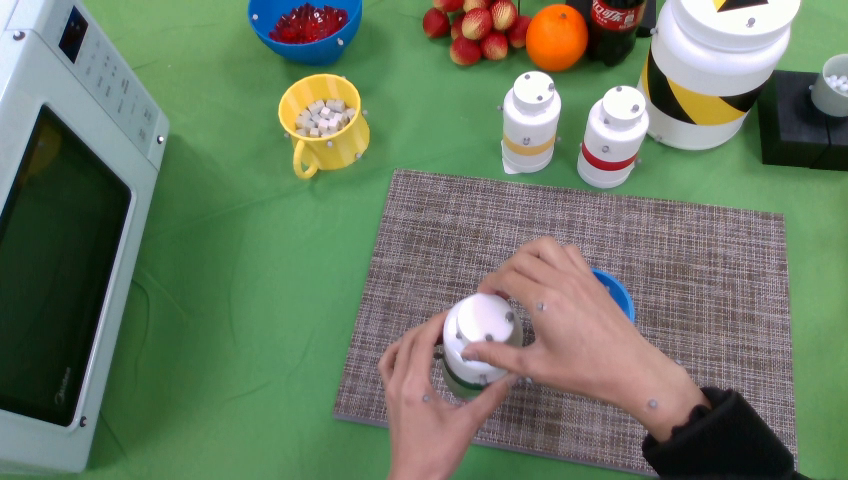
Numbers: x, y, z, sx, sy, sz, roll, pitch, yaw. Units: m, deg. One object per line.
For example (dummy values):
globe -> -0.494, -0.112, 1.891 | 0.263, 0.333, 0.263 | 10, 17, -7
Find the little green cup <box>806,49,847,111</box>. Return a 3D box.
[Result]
little green cup -> 0.456, -0.174, 0.666 | 0.061, 0.039, 0.061 | -1, 63, 3

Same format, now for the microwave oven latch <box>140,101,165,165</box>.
microwave oven latch -> -0.346, -0.133, 0.755 | 0.030, 0.030, 0.078 | 1, 65, 5

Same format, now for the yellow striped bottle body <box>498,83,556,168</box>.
yellow striped bottle body -> 0.116, -0.139, 0.691 | 0.063, 0.121, 0.062 | -2, 64, 5

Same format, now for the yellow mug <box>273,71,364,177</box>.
yellow mug -> -0.134, -0.135, 0.742 | 0.099, 0.064, 0.130 | 17, 68, 12

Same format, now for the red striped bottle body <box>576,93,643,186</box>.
red striped bottle body -> 0.206, -0.117, 0.673 | 0.063, 0.121, 0.062 | -4, 62, 7

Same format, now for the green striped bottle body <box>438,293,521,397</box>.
green striped bottle body -> 0.044, 0.084, 0.500 | 0.063, 0.120, 0.062 | 0, 61, 0

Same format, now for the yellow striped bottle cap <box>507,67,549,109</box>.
yellow striped bottle cap -> 0.111, -0.162, 0.645 | 0.044, 0.019, 0.044 | -2, 66, 4

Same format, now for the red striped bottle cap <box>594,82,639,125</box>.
red striped bottle cap -> 0.199, -0.141, 0.626 | 0.044, 0.018, 0.044 | 0, 64, 1

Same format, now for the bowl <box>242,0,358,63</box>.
bowl -> -0.157, -0.292, 0.812 | 0.151, 0.077, 0.150 | -2, 65, 4

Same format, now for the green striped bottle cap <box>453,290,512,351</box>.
green striped bottle cap -> 0.044, 0.060, 0.455 | 0.044, 0.020, 0.044 | 0, 55, 0

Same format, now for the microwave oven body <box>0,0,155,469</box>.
microwave oven body -> -0.506, -0.012, 0.606 | 0.326, 0.262, 0.438 | -1, 65, 4

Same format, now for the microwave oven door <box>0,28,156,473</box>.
microwave oven door -> -0.362, 0.021, 0.571 | 0.039, 0.246, 0.353 | -1, 64, 5

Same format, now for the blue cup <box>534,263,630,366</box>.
blue cup -> 0.145, 0.081, 0.590 | 0.092, 0.101, 0.092 | -1, 64, 3

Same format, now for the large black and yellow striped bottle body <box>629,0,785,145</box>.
large black and yellow striped bottle body -> 0.309, -0.207, 0.670 | 0.131, 0.185, 0.129 | -2, 64, 5

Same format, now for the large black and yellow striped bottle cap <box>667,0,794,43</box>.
large black and yellow striped bottle cap -> 0.300, -0.242, 0.594 | 0.115, 0.019, 0.114 | -2, 63, 5
